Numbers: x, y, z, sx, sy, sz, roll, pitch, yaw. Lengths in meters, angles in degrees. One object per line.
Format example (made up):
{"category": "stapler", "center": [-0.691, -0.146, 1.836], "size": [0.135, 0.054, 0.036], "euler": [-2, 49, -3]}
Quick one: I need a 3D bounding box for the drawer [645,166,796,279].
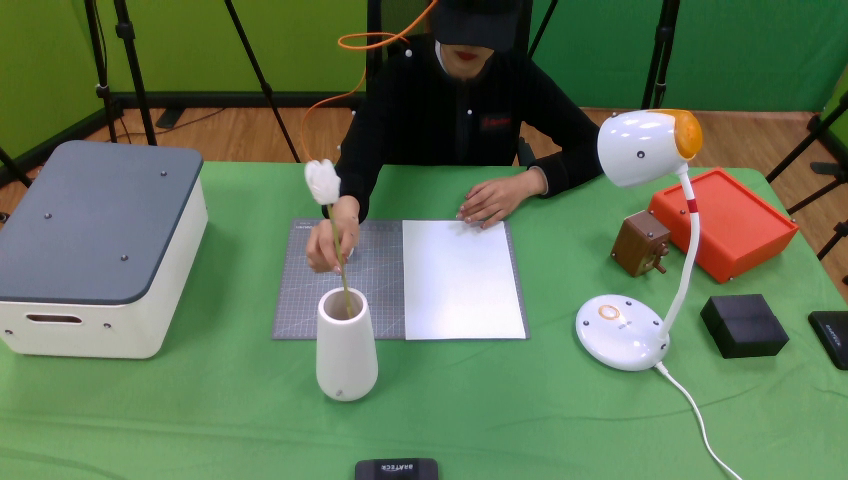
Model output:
{"category": "drawer", "center": [0.600, -0.041, 1.236], "size": [0.195, 0.073, 0.210], "euler": [-21, 51, -23]}

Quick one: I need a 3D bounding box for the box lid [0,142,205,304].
{"category": "box lid", "center": [-0.533, -0.044, 0.995], "size": [0.263, 0.015, 0.369], "euler": [3, 45, -3]}

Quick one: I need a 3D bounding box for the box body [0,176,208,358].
{"category": "box body", "center": [-0.546, 0.017, 1.045], "size": [0.254, 0.161, 0.361], "euler": [2, 46, -2]}

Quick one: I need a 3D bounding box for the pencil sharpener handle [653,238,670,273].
{"category": "pencil sharpener handle", "center": [0.444, 0.030, 1.120], "size": [0.036, 0.068, 0.030], "euler": [-25, 52, -18]}

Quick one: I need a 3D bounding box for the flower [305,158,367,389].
{"category": "flower", "center": [-0.113, 0.060, 0.855], "size": [0.044, 0.363, 0.038], "euler": [13, 31, 43]}

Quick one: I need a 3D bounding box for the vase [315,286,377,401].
{"category": "vase", "center": [-0.119, 0.159, 0.911], "size": [0.098, 0.201, 0.097], "euler": [2, 47, -2]}

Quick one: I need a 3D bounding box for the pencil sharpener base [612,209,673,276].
{"category": "pencil sharpener base", "center": [0.417, 0.007, 1.158], "size": [0.061, 0.107, 0.076], "euler": [-21, 51, -22]}

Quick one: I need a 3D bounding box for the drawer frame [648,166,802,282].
{"category": "drawer frame", "center": [0.603, -0.040, 1.233], "size": [0.202, 0.083, 0.212], "euler": [-21, 51, -23]}

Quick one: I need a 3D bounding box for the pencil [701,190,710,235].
{"category": "pencil", "center": [0.584, -0.058, 1.256], "size": [0.012, 0.012, 0.193], "euler": [16, 35, 12]}

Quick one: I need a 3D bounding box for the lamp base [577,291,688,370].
{"category": "lamp base", "center": [0.361, 0.110, 1.003], "size": [0.160, 0.181, 0.178], "euler": [-30, 57, -29]}

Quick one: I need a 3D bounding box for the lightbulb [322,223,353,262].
{"category": "lightbulb", "center": [-0.163, -0.001, 1.164], "size": [0.059, 0.060, 0.107], "euler": [4, 30, 0]}

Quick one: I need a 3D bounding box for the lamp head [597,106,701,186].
{"category": "lamp head", "center": [0.329, -0.138, 0.865], "size": [0.112, 0.113, 0.122], "euler": [-36, 20, -32]}
